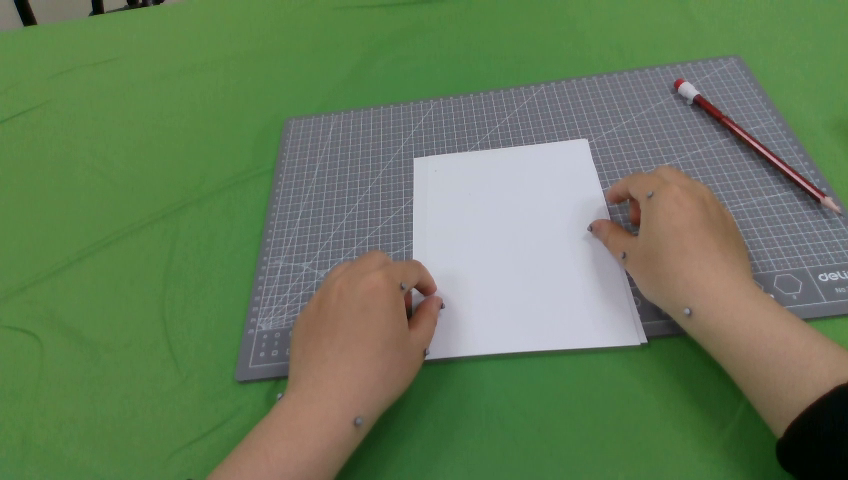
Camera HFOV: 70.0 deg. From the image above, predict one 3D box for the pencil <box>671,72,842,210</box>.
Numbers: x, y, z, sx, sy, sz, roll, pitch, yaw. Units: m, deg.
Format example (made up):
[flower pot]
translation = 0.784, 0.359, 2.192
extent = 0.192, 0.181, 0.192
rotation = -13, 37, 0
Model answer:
[pencil]
translation = 0.265, -0.087, 0.496
extent = 0.012, 0.012, 0.192
rotation = -22, 50, -8
